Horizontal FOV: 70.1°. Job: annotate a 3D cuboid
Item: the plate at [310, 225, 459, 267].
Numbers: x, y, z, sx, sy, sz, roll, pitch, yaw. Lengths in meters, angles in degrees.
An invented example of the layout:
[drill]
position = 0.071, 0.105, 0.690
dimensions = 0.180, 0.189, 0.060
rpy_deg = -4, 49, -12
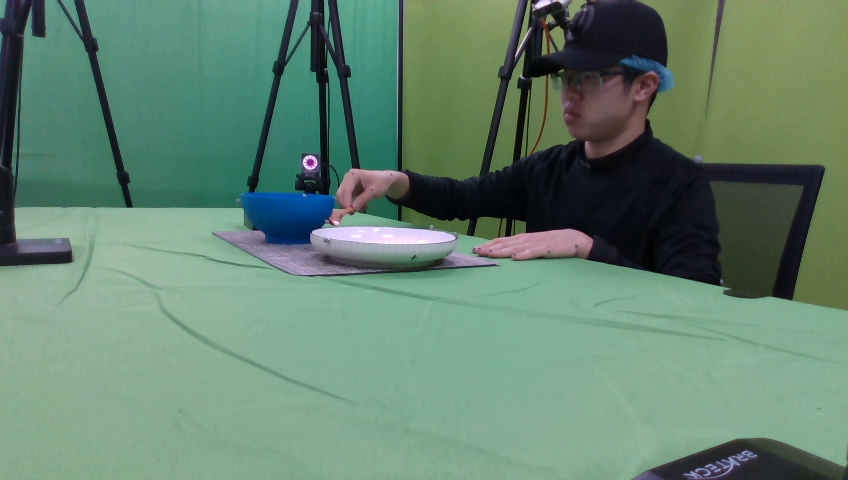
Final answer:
[plate]
position = -0.055, 0.008, 0.851
dimensions = 0.208, 0.039, 0.207
rpy_deg = 2, 7, 0

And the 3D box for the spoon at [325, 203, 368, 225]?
[spoon]
position = -0.147, -0.056, 1.160
dimensions = 0.041, 0.021, 0.194
rpy_deg = 46, 23, 7

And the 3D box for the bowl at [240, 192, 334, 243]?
[bowl]
position = -0.223, -0.037, 0.992
dimensions = 0.151, 0.077, 0.151
rpy_deg = 2, 7, 0
